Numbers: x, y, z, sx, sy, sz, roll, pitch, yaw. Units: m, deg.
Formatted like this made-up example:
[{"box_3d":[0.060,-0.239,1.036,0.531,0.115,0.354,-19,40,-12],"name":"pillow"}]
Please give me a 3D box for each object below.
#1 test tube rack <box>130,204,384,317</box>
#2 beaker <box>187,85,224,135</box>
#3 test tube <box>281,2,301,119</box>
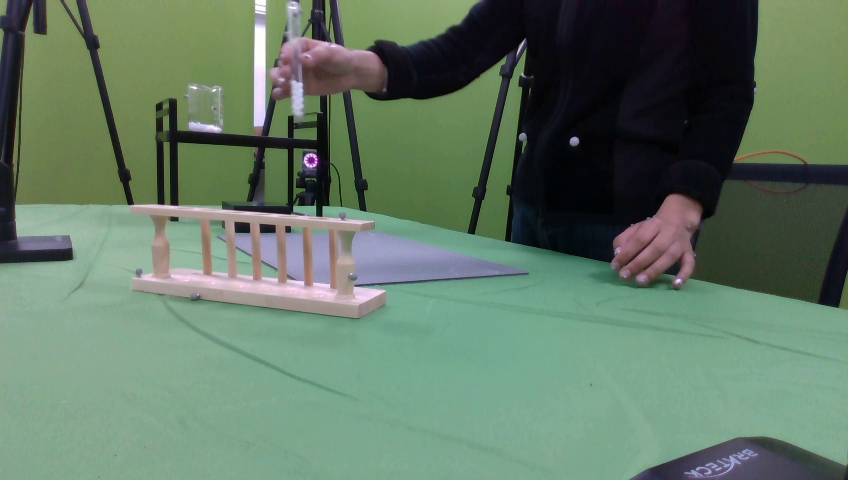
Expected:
[{"box_3d":[-0.162,0.013,0.589,0.242,0.085,0.067,5,8,17],"name":"test tube rack"},{"box_3d":[-0.466,-0.276,1.296,0.074,0.100,0.083,-3,10,-35],"name":"beaker"},{"box_3d":[-0.166,-0.222,0.750,0.017,0.150,0.017,-5,-7,0],"name":"test tube"}]
